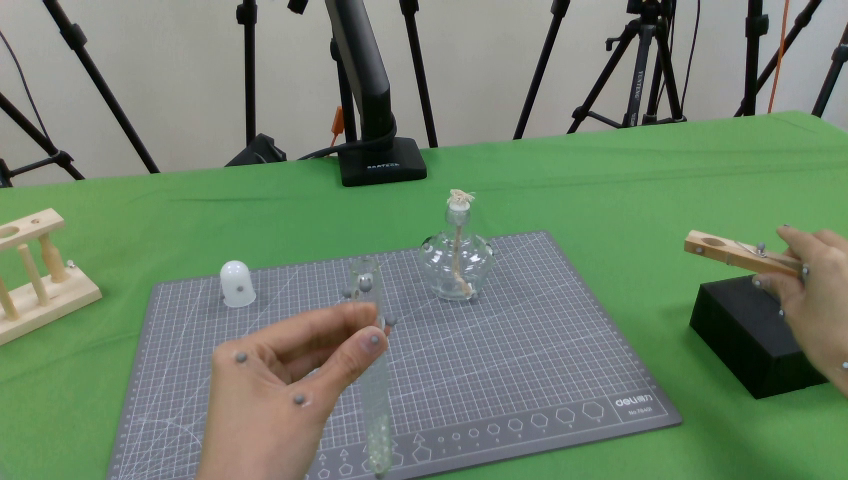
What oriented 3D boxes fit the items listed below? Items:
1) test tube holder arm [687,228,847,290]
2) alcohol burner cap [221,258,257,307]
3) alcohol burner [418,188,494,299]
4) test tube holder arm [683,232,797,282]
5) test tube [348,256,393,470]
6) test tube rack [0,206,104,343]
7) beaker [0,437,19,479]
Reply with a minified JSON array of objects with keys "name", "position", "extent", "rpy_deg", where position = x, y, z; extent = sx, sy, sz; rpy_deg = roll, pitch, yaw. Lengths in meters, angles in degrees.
[{"name":"test tube holder arm","position":[0.291,0.022,0.466],"extent":[0.177,0.015,0.013],"rpy_deg":[21,55,36]},{"name":"alcohol burner cap","position":[-0.192,0.041,0.619],"extent":[0.034,0.048,0.033],"rpy_deg":[-1,34,1]},{"name":"alcohol burner","position":[0.033,0.000,0.611],"extent":[0.078,0.120,0.077],"rpy_deg":[1,34,0]},{"name":"test tube holder arm","position":[0.254,0.013,0.490],"extent":[0.087,0.015,0.010],"rpy_deg":[21,56,37]},{"name":"test tube","position":[-0.028,0.075,0.340],"extent":[0.017,0.151,0.017],"rpy_deg":[-1,31,1]},{"name":"test tube rack","position":[-0.445,0.060,0.561],"extent":[0.066,0.086,0.242],"rpy_deg":[28,43,35]},{"name":"beaker","position":[-0.291,0.175,0.377],"extent":[0.084,0.101,0.073],"rpy_deg":[-3,34,-2]}]
